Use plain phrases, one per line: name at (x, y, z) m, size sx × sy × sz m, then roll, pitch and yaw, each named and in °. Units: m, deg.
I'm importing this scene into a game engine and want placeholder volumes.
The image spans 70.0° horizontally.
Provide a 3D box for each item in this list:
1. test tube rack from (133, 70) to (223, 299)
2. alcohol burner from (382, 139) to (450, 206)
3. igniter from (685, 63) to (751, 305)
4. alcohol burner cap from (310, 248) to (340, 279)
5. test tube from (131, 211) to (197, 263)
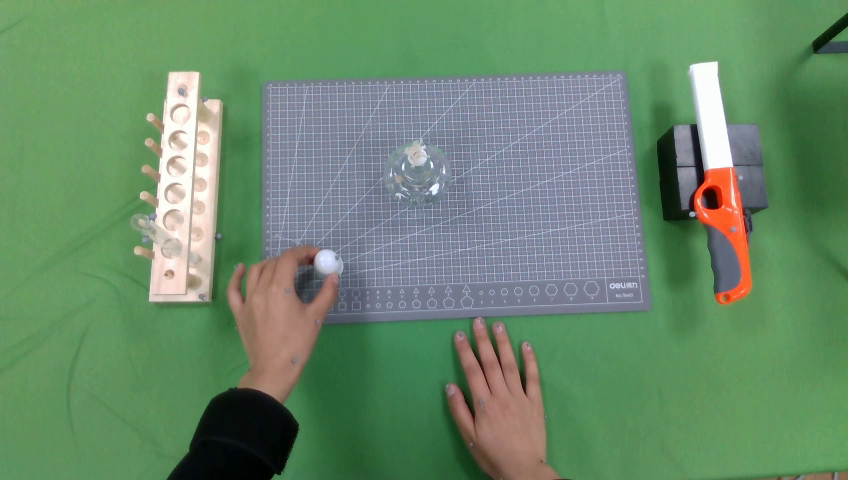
test tube rack at (-0.277, -0.058, 0.675) m, size 0.067 × 0.085 × 0.241 m, roll 0°, pitch 79°, yaw -1°
alcohol burner at (-0.009, -0.079, 0.670) m, size 0.078 × 0.119 × 0.077 m, roll 0°, pitch 80°, yaw -1°
igniter at (0.326, -0.066, 0.677) m, size 0.057 × 0.025 × 0.275 m, roll -4°, pitch 79°, yaw 9°
alcohol burner cap at (-0.111, 0.024, 0.669) m, size 0.034 × 0.048 × 0.033 m, roll 1°, pitch 77°, yaw -6°
test tube at (-0.260, 0.000, 0.615) m, size 0.017 × 0.151 × 0.017 m, roll 1°, pitch 75°, yaw -3°
